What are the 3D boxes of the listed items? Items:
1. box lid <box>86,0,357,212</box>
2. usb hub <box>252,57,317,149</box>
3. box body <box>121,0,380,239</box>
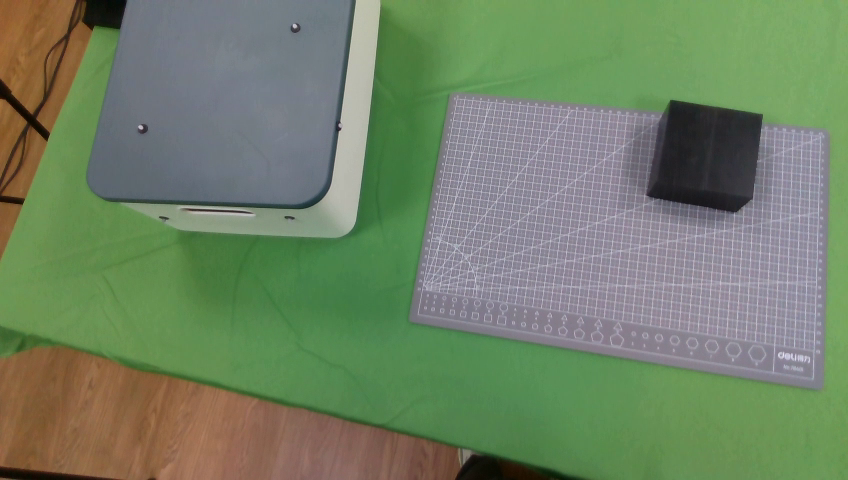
[{"bbox_3d":[-0.208,-0.208,0.652,0.263,0.015,0.369,3,75,8],"label":"box lid"},{"bbox_3d":[-0.178,-0.177,0.776,0.049,0.025,0.124,8,70,11],"label":"usb hub"},{"bbox_3d":[-0.199,-0.190,0.724,0.254,0.161,0.362,3,75,7],"label":"box body"}]
